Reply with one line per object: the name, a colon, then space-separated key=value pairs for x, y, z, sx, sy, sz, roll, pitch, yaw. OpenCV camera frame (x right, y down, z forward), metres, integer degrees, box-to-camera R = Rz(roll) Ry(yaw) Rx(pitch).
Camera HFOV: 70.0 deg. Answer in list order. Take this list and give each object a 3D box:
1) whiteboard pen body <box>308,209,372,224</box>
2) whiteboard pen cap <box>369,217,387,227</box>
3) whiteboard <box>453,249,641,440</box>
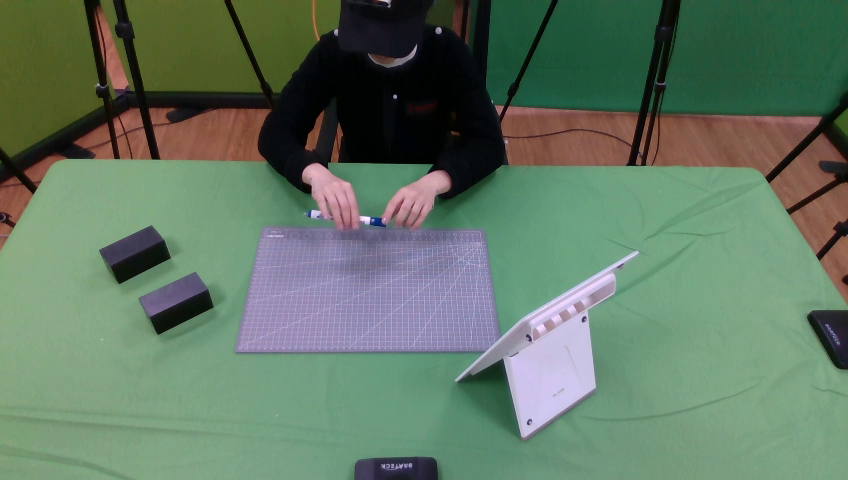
whiteboard pen body: x=-0.143 y=-0.042 z=1.113 sx=0.141 sy=0.017 sz=0.017 roll=6 pitch=46 yaw=-8
whiteboard pen cap: x=-0.085 y=-0.035 z=1.120 sx=0.033 sy=0.018 sz=0.018 roll=6 pitch=46 yaw=-6
whiteboard: x=0.206 y=0.174 z=0.890 sx=0.217 sy=0.306 sz=0.143 roll=-25 pitch=72 yaw=-25
